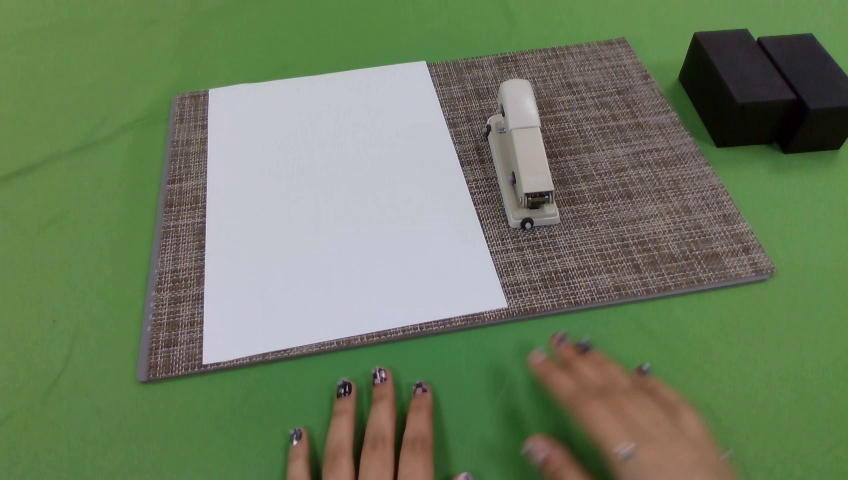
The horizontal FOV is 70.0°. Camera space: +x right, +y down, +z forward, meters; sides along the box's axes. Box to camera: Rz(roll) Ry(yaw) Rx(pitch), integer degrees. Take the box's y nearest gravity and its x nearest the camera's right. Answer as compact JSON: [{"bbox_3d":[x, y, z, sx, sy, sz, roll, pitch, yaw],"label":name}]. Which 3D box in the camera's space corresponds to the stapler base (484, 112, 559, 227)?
[{"bbox_3d":[0.079,-0.068,0.504,0.041,0.024,0.129,-7,54,-1],"label":"stapler base"}]

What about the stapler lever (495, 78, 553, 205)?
[{"bbox_3d":[0.079,-0.082,0.483,0.027,0.040,0.117,-8,53,0],"label":"stapler lever"}]
